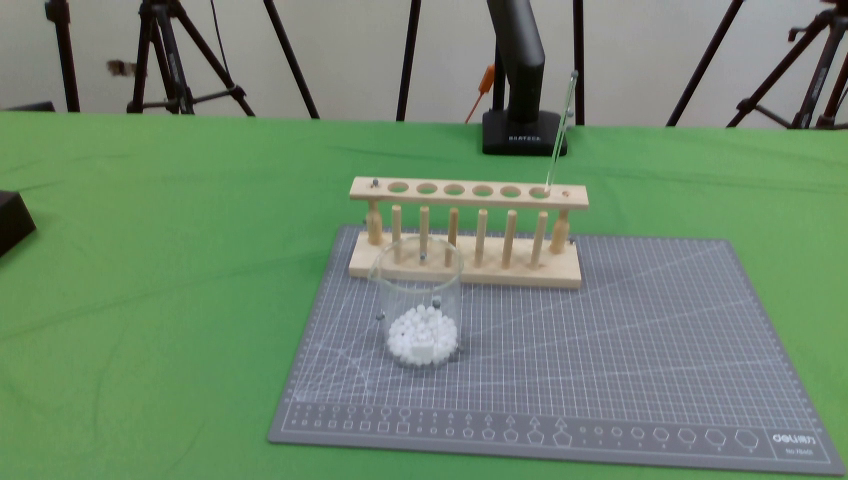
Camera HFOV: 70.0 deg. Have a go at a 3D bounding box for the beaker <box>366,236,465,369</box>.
[{"bbox_3d":[-0.006,0.059,0.537,0.084,0.101,0.073,-10,38,-11],"label":"beaker"}]

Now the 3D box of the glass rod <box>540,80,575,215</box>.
[{"bbox_3d":[0.126,-0.063,0.598,0.008,0.201,0.008,2,39,-1],"label":"glass rod"}]

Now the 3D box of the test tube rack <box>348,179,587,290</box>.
[{"bbox_3d":[0.042,-0.007,0.636,0.242,0.086,0.066,3,37,4],"label":"test tube rack"}]
